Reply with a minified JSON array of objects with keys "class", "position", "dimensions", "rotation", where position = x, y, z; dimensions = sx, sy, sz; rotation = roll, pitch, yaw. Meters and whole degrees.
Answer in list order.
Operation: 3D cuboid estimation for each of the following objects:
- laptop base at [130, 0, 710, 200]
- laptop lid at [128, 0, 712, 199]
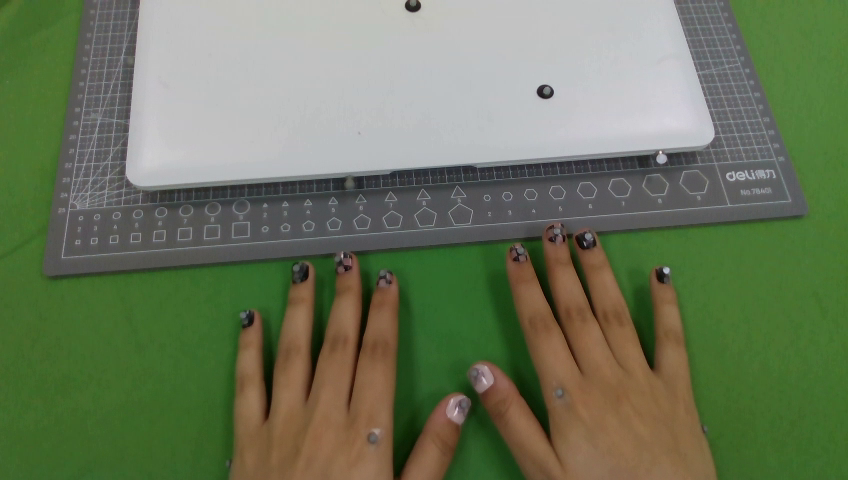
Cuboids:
[{"class":"laptop base","position":[-0.007,-0.142,0.410],"dimensions":[0.355,0.023,0.234],"rotation":[-5,70,-5]},{"class":"laptop lid","position":[-0.007,-0.145,0.398],"dimensions":[0.357,0.013,0.240],"rotation":[-3,69,-4]}]
